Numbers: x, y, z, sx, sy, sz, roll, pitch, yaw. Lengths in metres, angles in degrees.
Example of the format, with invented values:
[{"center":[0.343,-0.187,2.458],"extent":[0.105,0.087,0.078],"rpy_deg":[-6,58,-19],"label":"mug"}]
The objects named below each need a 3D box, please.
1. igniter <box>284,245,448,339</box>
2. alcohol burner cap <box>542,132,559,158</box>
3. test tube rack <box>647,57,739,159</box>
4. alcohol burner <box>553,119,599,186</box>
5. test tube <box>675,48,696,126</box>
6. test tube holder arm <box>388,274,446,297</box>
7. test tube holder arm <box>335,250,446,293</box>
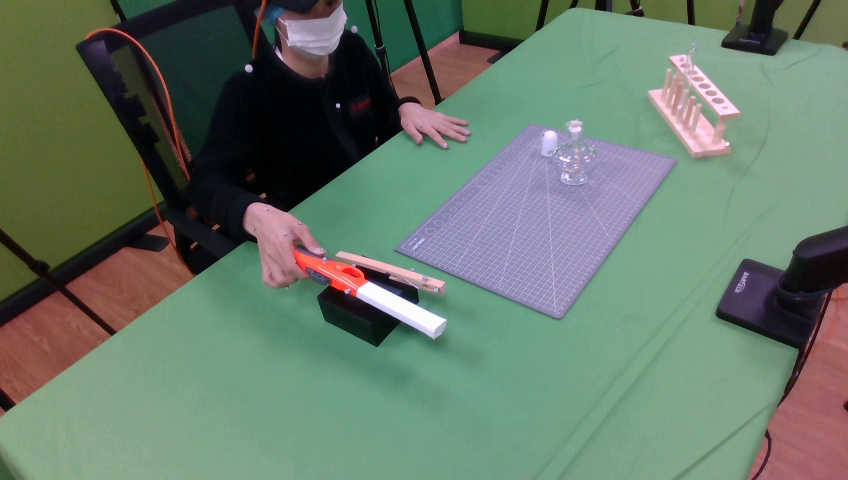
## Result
[{"center":[-0.089,0.064,0.820],"extent":[0.274,0.025,0.057],"rpy_deg":[23,32,27],"label":"igniter"},{"center":[0.237,-0.180,1.134],"extent":[0.034,0.048,0.033],"rpy_deg":[-5,41,5],"label":"alcohol burner cap"},{"center":[0.504,-0.257,1.153],"extent":[0.067,0.085,0.241],"rpy_deg":[-8,40,1],"label":"test tube rack"},{"center":[0.261,-0.153,1.042],"extent":[0.078,0.119,0.077],"rpy_deg":[-6,40,6],"label":"alcohol burner"},{"center":[0.481,-0.279,1.112],"extent":[0.017,0.151,0.017],"rpy_deg":[-5,40,5],"label":"test tube"},{"center":[-0.011,0.060,0.838],"extent":[0.087,0.010,0.015],"rpy_deg":[18,39,24],"label":"test tube holder arm"},{"center":[-0.050,0.043,0.853],"extent":[0.177,0.013,0.015],"rpy_deg":[18,39,24],"label":"test tube holder arm"}]
